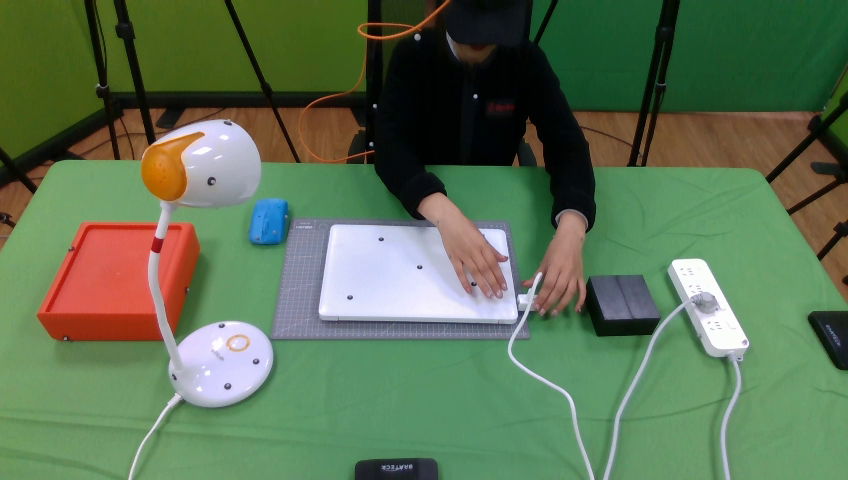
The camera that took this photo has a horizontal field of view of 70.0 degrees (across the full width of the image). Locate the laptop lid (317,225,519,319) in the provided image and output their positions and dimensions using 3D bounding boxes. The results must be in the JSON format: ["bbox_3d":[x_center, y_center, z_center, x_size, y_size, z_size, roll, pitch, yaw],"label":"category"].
[{"bbox_3d":[-0.010,0.053,1.130,0.357,0.013,0.240,3,43,-1],"label":"laptop lid"}]

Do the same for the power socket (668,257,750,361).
[{"bbox_3d":[0.517,0.117,1.109,0.072,0.033,0.225,-3,47,-4],"label":"power socket"}]

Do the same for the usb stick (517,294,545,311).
[{"bbox_3d":[0.184,0.112,1.085,0.059,0.027,0.021,-2,48,-2],"label":"usb stick"}]

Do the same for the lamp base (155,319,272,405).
[{"bbox_3d":[-0.330,0.149,0.918,0.160,0.181,0.179,26,52,20],"label":"lamp base"}]

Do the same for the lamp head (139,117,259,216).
[{"bbox_3d":[-0.281,-0.086,0.734,0.112,0.113,0.123,21,25,16],"label":"lamp head"}]

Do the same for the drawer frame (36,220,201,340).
[{"bbox_3d":[-0.518,0.065,1.055,0.202,0.083,0.212,0,47,-5],"label":"drawer frame"}]

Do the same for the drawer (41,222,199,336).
[{"bbox_3d":[-0.519,0.064,1.058,0.195,0.073,0.210,1,47,-4],"label":"drawer"}]

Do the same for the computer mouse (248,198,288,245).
[{"bbox_3d":[-0.309,-0.041,1.205,0.063,0.041,0.116,3,50,-3],"label":"computer mouse"}]

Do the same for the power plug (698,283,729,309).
[{"bbox_3d":[0.510,0.096,1.060,0.052,0.073,0.035,-20,61,8],"label":"power plug"}]

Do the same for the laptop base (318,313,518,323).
[{"bbox_3d":[-0.010,0.063,1.137,0.354,0.023,0.234,1,43,-3],"label":"laptop base"}]
